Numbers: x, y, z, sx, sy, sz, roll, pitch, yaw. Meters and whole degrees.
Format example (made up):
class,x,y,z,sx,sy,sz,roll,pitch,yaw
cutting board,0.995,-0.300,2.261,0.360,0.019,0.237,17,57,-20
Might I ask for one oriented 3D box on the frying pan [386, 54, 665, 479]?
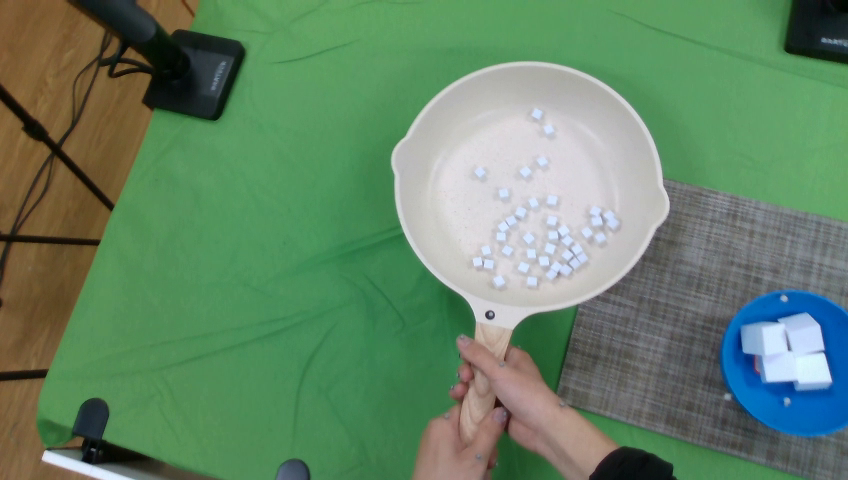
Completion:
class,x,y,z,sx,sy,sz,roll,pitch,yaw
frying pan,0.085,0.028,0.656,0.306,0.103,0.485,12,69,8

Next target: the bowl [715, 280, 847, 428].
class,x,y,z,sx,sy,sz,roll,pitch,yaw
bowl,0.385,0.124,0.656,0.151,0.077,0.150,-1,76,6
